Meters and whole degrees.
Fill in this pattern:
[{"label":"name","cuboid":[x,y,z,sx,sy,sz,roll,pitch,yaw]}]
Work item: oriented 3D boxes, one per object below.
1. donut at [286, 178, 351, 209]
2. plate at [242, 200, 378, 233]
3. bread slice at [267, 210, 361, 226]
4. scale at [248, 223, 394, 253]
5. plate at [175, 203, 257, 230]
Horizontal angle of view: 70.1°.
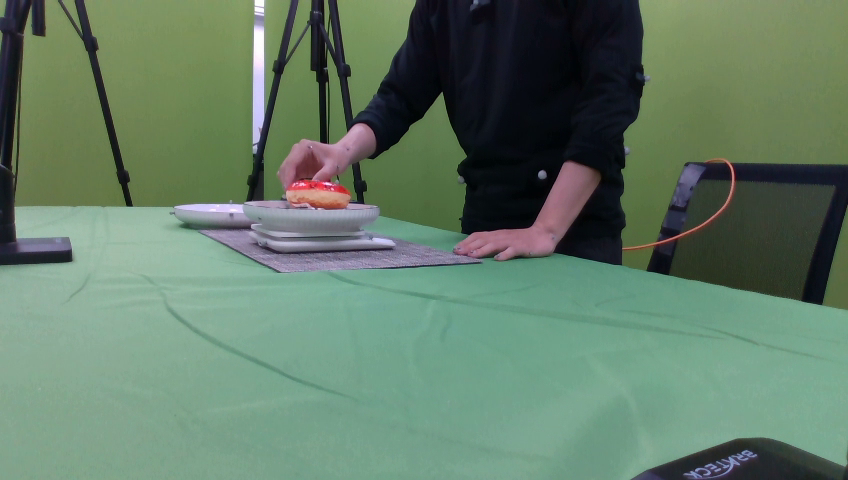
[{"label":"donut","cuboid":[-0.163,-0.069,0.938,0.099,0.048,0.099,4,1,0]},{"label":"plate","cuboid":[-0.175,-0.038,0.939,0.209,0.038,0.209,3,7,0]},{"label":"bread slice","cuboid":[-0.174,-0.035,0.934,0.132,0.019,0.104,-1,6,-28]},{"label":"scale","cuboid":[-0.162,-0.006,0.954,0.202,0.031,0.148,-2,8,-32]},{"label":"plate","cuboid":[-0.381,-0.047,1.199,0.208,0.039,0.207,3,7,0]}]
